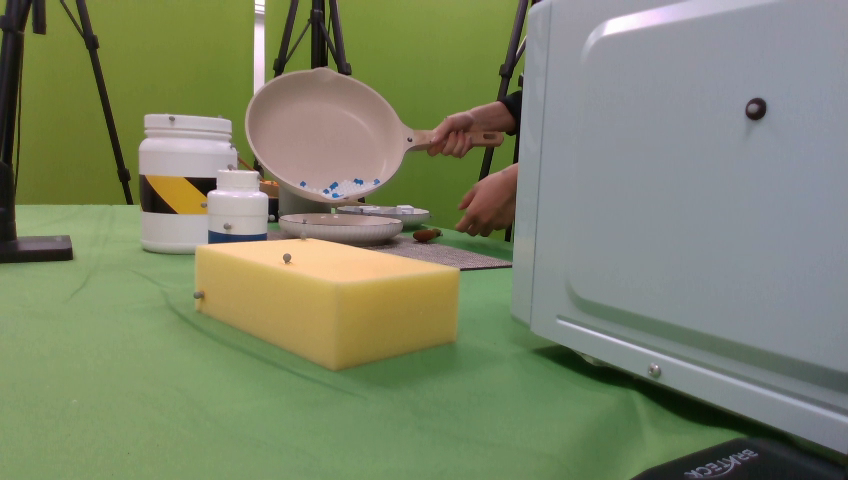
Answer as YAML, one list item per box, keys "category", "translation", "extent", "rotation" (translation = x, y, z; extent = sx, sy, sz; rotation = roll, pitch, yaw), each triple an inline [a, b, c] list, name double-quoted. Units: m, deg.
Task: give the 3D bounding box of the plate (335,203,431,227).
- category: "plate"
  translation: [-0.089, -0.053, 1.309]
  extent: [0.208, 0.039, 0.207]
  rotation: [2, 8, 0]

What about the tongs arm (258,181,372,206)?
- category: "tongs arm"
  translation: [-0.241, -0.095, 1.373]
  extent: [0.387, 0.026, 0.050]
  rotation: [8, 0, -37]

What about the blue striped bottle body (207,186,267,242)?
- category: "blue striped bottle body"
  translation: [-0.204, -0.016, 0.663]
  extent: [0.063, 0.120, 0.063]
  rotation: [2, 7, 0]

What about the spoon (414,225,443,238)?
- category: "spoon"
  translation: [0.017, -0.019, 1.113]
  extent: [0.041, 0.021, 0.194]
  rotation: [-15, 3, 12]

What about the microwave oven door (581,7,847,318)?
- category: "microwave oven door"
  translation: [0.295, -0.067, 0.569]
  extent: [0.358, 0.243, 0.039]
  rotation: [-3, 8, -31]

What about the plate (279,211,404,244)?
- category: "plate"
  translation: [-0.139, -0.022, 1.021]
  extent: [0.209, 0.038, 0.209]
  rotation: [2, 8, 0]

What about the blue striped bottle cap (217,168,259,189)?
- category: "blue striped bottle cap"
  translation: [-0.202, -0.067, 0.656]
  extent: [0.044, 0.020, 0.044]
  rotation: [0, 10, 0]

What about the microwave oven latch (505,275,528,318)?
- category: "microwave oven latch"
  translation: [0.100, 0.042, 0.472]
  extent: [0.079, 0.029, 0.030]
  rotation: [-2, 8, -30]

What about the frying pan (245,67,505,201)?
- category: "frying pan"
  translation: [-0.081, -0.195, 1.151]
  extent: [0.489, 0.306, 0.102]
  rotation: [-2, -28, -10]

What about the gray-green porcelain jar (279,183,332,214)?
- category: "gray-green porcelain jar"
  translation: [-0.238, -0.092, 1.221]
  extent: [0.106, 0.126, 0.106]
  rotation: [1, 7, 0]

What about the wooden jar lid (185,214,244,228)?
- category: "wooden jar lid"
  translation: [-0.404, -0.037, 1.169]
  extent: [0.108, 0.020, 0.108]
  rotation: [3, 7, 0]

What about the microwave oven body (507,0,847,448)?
- category: "microwave oven body"
  translation: [0.331, -0.042, 0.425]
  extent: [0.444, 0.260, 0.324]
  rotation: [-2, 8, -31]

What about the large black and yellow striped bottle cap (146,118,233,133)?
- category: "large black and yellow striped bottle cap"
  translation: [-0.333, -0.163, 0.861]
  extent: [0.115, 0.019, 0.115]
  rotation: [1, 9, 0]

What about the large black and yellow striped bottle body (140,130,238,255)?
- category: "large black and yellow striped bottle body"
  translation: [-0.336, -0.078, 0.871]
  extent: [0.131, 0.184, 0.130]
  rotation: [2, 8, 0]

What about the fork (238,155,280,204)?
- category: "fork"
  translation: [-0.396, -0.143, 1.486]
  extent: [0.028, 0.018, 0.208]
  rotation: [20, -26, 45]

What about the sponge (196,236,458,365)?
- category: "sponge"
  translation: [-0.087, 0.039, 0.500]
  extent: [0.206, 0.061, 0.119]
  rotation: [8, 10, 44]

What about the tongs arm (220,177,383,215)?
- category: "tongs arm"
  translation: [-0.285, -0.103, 1.445]
  extent: [0.389, 0.027, 0.028]
  rotation: [9, -4, -23]
